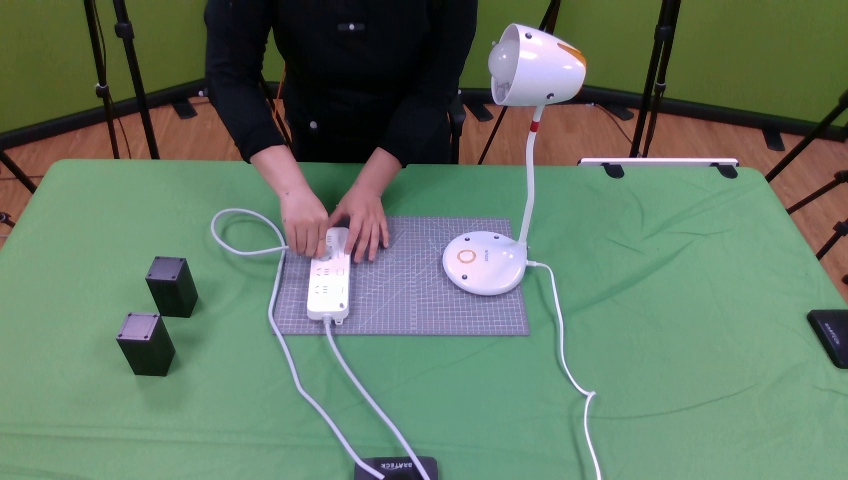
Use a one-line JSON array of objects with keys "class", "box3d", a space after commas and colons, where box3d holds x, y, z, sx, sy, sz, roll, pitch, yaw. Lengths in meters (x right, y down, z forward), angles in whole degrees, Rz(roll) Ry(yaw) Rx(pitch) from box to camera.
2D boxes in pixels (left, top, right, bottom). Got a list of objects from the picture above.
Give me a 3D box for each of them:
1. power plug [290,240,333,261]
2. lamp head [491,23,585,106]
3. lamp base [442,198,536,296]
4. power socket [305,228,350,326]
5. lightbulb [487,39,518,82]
[{"class": "power plug", "box3d": [-0.206, 0.021, 1.125, 0.072, 0.053, 0.035, 8, 46, 9]}, {"class": "lamp head", "box3d": [0.166, -0.241, 0.872, 0.123, 0.113, 0.111, 9, 43, -17]}, {"class": "lamp base", "box3d": [0.131, -0.012, 1.105, 0.179, 0.181, 0.159, -1, 46, -9]}, {"class": "power socket", "box3d": [-0.176, 0.059, 1.116, 0.072, 0.033, 0.225, -1, 46, -4]}, {"class": "lightbulb", "box3d": [0.143, -0.251, 0.865, 0.108, 0.060, 0.059, 8, 45, -7]}]
